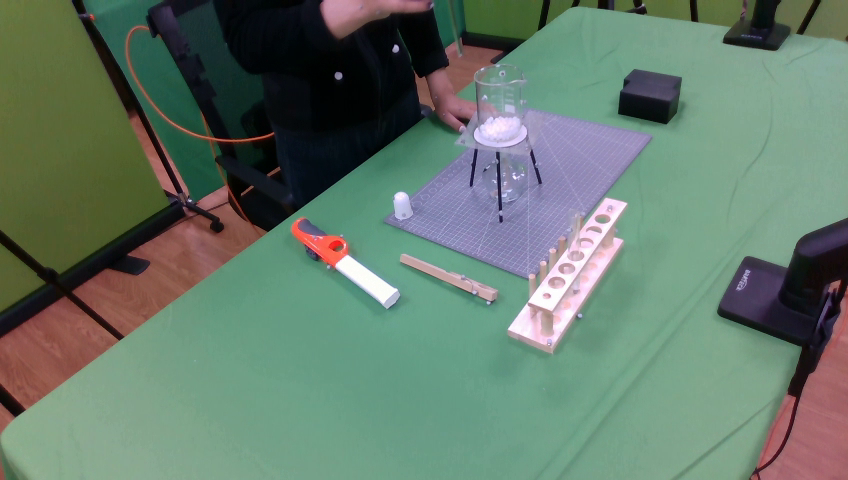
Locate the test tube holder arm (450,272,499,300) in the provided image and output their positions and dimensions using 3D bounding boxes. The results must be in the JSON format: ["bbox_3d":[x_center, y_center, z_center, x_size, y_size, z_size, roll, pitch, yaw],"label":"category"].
[{"bbox_3d":[0.071,0.068,0.895,0.087,0.015,0.010,21,16,32],"label":"test tube holder arm"}]

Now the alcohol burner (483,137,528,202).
[{"bbox_3d":[0.138,-0.125,1.030,0.078,0.119,0.077,-4,41,4],"label":"alcohol burner"}]

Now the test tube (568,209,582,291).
[{"bbox_3d":[0.200,0.017,0.799,0.017,0.151,0.017,-8,45,8],"label":"test tube"}]

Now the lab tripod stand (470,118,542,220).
[{"bbox_3d":[0.135,-0.128,1.019,0.148,0.132,0.147,-5,38,5],"label":"lab tripod stand"}]

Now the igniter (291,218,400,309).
[{"bbox_3d":[-0.136,0.031,0.970,0.057,0.025,0.274,-41,49,-19],"label":"igniter"}]

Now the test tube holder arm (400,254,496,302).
[{"bbox_3d":[0.032,0.054,0.914,0.177,0.015,0.013,21,16,32],"label":"test tube holder arm"}]

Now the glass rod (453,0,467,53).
[{"bbox_3d":[0.038,-0.343,0.818,0.008,0.201,0.008,-9,46,10],"label":"glass rod"}]

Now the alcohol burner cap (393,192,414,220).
[{"bbox_3d":[-0.038,-0.061,1.043,0.034,0.048,0.033,-5,41,5],"label":"alcohol burner cap"}]

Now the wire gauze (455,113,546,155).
[{"bbox_3d":[0.124,-0.175,0.973,0.124,0.011,0.121,8,39,21],"label":"wire gauze"}]

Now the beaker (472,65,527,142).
[{"bbox_3d":[0.120,-0.211,0.942,0.083,0.101,0.074,10,42,21],"label":"beaker"}]

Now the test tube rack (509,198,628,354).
[{"bbox_3d":[0.206,0.039,0.850,0.066,0.085,0.243,20,48,31],"label":"test tube rack"}]
